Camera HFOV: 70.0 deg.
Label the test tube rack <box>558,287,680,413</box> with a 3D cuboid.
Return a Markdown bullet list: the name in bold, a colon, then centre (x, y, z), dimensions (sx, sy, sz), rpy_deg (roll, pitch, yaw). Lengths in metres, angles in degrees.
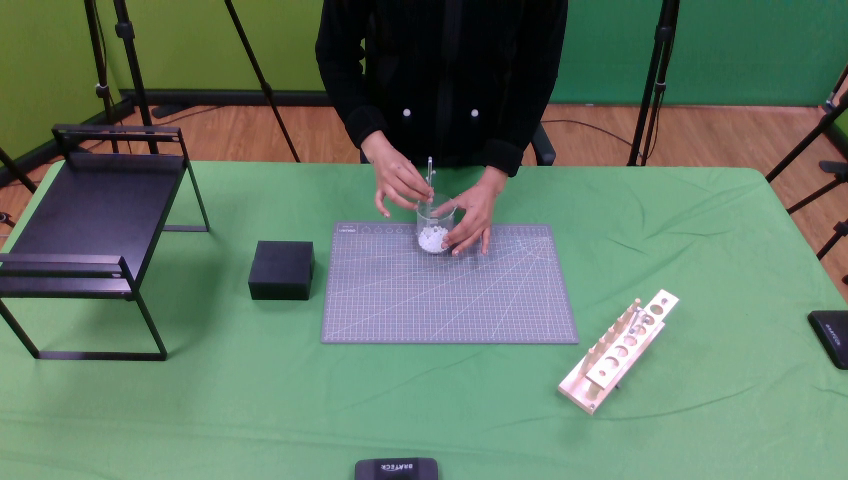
- **test tube rack**: centre (0.326, 0.170, 1.009), dimensions (0.066, 0.085, 0.242), rpy_deg (36, 54, 26)

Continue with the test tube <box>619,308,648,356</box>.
- **test tube**: centre (0.327, 0.155, 0.955), dimensions (0.017, 0.151, 0.017), rpy_deg (-1, 50, 1)

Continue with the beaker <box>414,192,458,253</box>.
- **beaker**: centre (0.024, -0.031, 1.157), dimensions (0.084, 0.101, 0.073), rpy_deg (-14, 49, -12)

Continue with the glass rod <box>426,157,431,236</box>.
- **glass rod**: centre (0.009, -0.075, 1.120), dimensions (0.008, 0.201, 0.008), rpy_deg (1, 49, -1)
